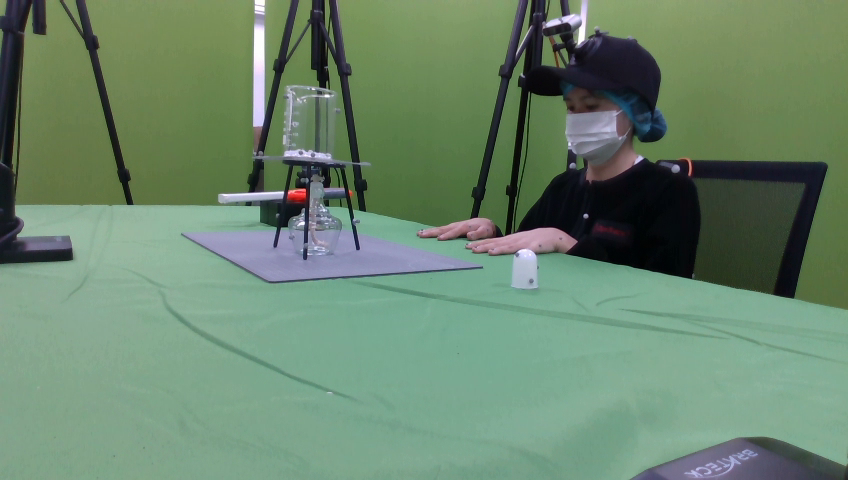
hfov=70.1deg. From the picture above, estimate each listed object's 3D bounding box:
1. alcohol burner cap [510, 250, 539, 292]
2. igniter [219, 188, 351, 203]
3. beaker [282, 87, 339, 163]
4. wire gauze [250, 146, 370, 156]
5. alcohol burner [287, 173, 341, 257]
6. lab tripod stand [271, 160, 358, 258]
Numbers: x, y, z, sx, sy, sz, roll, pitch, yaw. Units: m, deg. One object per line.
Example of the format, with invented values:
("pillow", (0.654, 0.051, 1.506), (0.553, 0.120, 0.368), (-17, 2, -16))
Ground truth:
("alcohol burner cap", (0.118, 0.036, 0.704), (0.034, 0.048, 0.034), (0, 6, 0))
("igniter", (-0.280, -0.092, 1.254), (0.278, 0.025, 0.057), (-6, 10, -34))
("beaker", (-0.164, -0.160, 0.856), (0.074, 0.100, 0.083), (1, 6, -37))
("wire gauze", (-0.162, -0.128, 0.868), (0.124, 0.011, 0.122), (2, 7, 32))
("alcohol burner", (-0.158, -0.037, 0.868), (0.078, 0.119, 0.078), (1, 6, 0))
("lab tripod stand", (-0.159, -0.048, 0.876), (0.148, 0.131, 0.148), (3, 5, 0))
